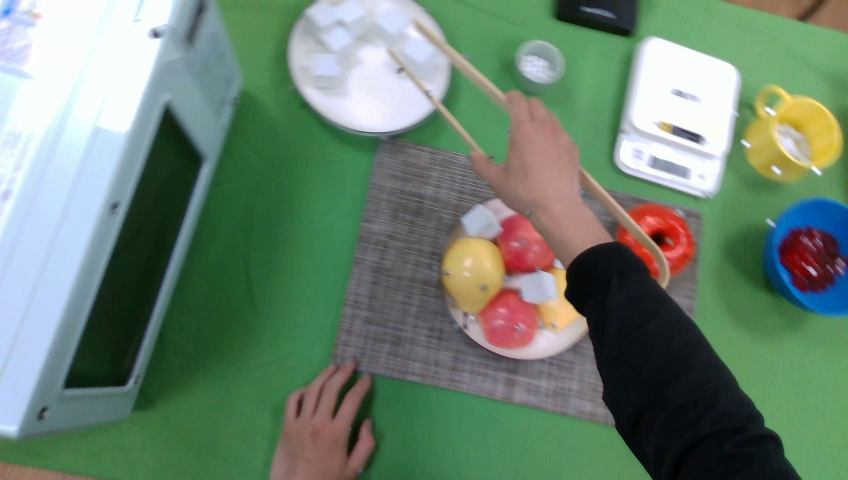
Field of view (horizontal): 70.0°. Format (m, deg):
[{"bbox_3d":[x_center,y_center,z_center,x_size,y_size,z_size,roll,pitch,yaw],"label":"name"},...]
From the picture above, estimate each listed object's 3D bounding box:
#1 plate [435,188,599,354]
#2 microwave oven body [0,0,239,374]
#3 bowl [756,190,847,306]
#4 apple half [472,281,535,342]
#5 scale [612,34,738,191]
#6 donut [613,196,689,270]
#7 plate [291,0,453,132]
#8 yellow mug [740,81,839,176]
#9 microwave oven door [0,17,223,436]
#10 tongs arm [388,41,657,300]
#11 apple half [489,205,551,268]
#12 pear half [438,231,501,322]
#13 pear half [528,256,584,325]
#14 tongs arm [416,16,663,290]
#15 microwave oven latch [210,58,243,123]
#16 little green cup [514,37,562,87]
[{"bbox_3d":[0.115,0.039,0.761,0.209,0.038,0.208,2,79,-8],"label":"plate"},{"bbox_3d":[-0.420,-0.078,0.596,0.326,0.260,0.440,15,78,-5],"label":"microwave oven body"},{"bbox_3d":[0.500,0.017,0.802,0.152,0.077,0.150,1,79,-7],"label":"bowl"},{"bbox_3d":[0.100,0.087,0.740,0.081,0.033,0.081,3,73,-8],"label":"apple half"},{"bbox_3d":[0.351,-0.179,0.844,0.149,0.031,0.200,17,78,-4],"label":"scale"},{"bbox_3d":[0.294,-0.009,0.792,0.099,0.048,0.098,1,79,-5],"label":"donut"},{"bbox_3d":[-0.067,-0.236,0.795,0.208,0.039,0.206,2,78,-8],"label":"plate"},{"bbox_3d":[0.500,-0.161,0.843,0.100,0.064,0.130,-20,81,-10],"label":"yellow mug"},{"bbox_3d":[-0.290,0.000,0.593,0.039,0.244,0.354,15,77,-4],"label":"microwave oven door"},{"bbox_3d":[0.097,-0.082,0.641,0.051,0.026,0.383,-38,80,-3],"label":"tongs arm"},{"bbox_3d":[0.122,-0.007,0.754,0.075,0.053,0.080,0,82,-5],"label":"apple half"},{"bbox_3d":[0.056,0.045,0.730,0.076,0.056,0.109,7,82,-15],"label":"pear half"},{"bbox_3d":[0.166,0.062,0.757,0.070,0.031,0.087,13,75,8],"label":"pear half"},{"bbox_3d":[0.117,-0.100,0.642,0.028,0.028,0.386,-40,80,-7],"label":"tongs arm"},{"bbox_3d":[-0.247,-0.186,0.741,0.030,0.029,0.079,18,78,-4],"label":"microwave oven latch"},{"bbox_3d":[0.152,-0.240,0.825,0.062,0.039,0.061,2,78,-7],"label":"little green cup"}]
